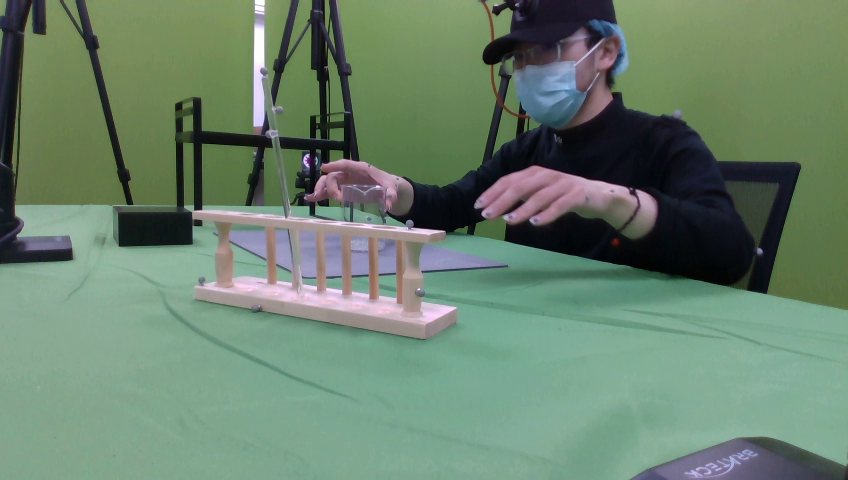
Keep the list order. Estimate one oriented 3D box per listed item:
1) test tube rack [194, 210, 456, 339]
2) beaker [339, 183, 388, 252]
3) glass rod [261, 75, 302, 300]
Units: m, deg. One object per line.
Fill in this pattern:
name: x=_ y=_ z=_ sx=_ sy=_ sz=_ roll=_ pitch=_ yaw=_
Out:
test tube rack: x=-0.093 y=0.023 z=0.546 sx=0.241 sy=0.085 sz=0.067 roll=6 pitch=8 yaw=25
beaker: x=-0.093 y=-0.034 z=0.919 sx=0.074 sy=0.100 sz=0.084 roll=1 pitch=8 yaw=-8
glass rod: x=-0.124 y=-0.043 z=0.531 sx=0.008 sy=0.199 sz=0.008 roll=-7 pitch=8 yaw=1
